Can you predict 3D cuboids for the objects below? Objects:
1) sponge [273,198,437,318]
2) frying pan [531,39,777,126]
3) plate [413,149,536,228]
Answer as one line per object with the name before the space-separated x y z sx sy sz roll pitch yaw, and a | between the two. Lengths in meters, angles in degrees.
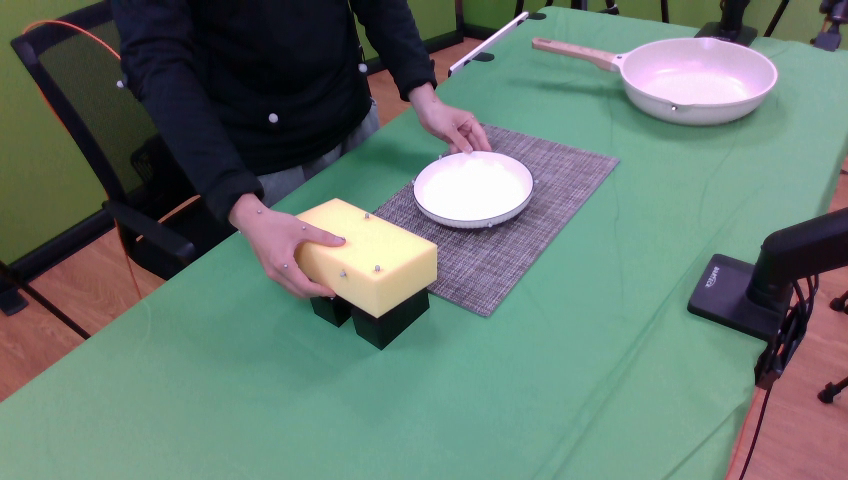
sponge | -0.098 0.018 0.847 0.205 0.061 0.119 24 39 33
frying pan | 0.452 -0.354 1.254 0.485 0.103 0.307 22 47 19
plate | 0.086 -0.085 1.038 0.207 0.039 0.206 -4 40 4
